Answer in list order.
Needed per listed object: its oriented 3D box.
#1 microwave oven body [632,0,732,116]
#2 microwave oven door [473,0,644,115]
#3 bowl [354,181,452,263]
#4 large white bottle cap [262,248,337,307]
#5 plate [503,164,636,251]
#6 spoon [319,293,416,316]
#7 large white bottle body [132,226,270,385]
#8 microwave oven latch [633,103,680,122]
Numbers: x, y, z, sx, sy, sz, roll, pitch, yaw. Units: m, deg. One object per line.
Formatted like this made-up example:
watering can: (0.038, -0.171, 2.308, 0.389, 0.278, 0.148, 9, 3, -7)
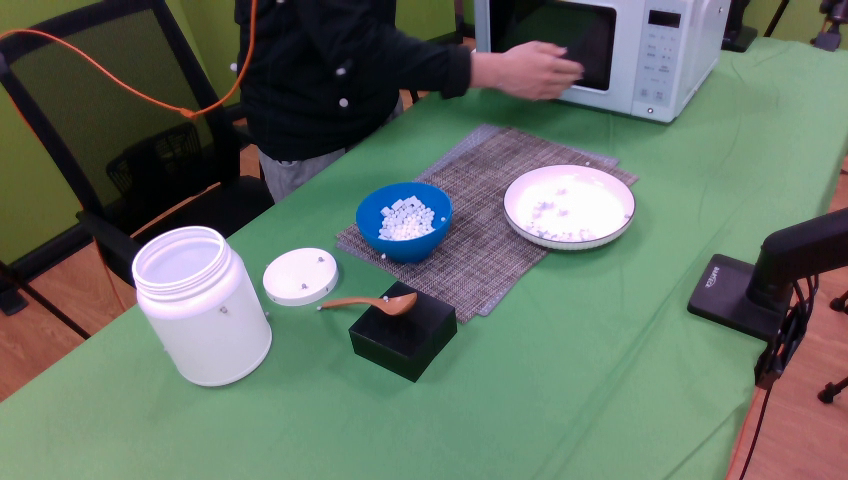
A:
microwave oven body: (0.377, -0.463, 1.267, 0.438, 0.261, 0.327, 21, 49, 30)
microwave oven door: (0.257, -0.396, 1.199, 0.353, 0.245, 0.039, 21, 48, 29)
bowl: (-0.028, -0.017, 0.943, 0.151, 0.077, 0.150, -4, 40, 3)
large white bottle cap: (-0.193, 0.056, 0.934, 0.115, 0.018, 0.114, -5, 42, 5)
plate: (0.232, -0.050, 0.976, 0.209, 0.038, 0.208, -3, 41, 3)
spoon: (-0.082, 0.086, 0.826, 0.192, 0.022, 0.041, -3, 37, 41)
large white bottle body: (-0.286, 0.085, 0.784, 0.130, 0.185, 0.130, -4, 41, 4)
microwave oven latch: (0.443, -0.249, 1.158, 0.078, 0.029, 0.030, 21, 49, 30)
